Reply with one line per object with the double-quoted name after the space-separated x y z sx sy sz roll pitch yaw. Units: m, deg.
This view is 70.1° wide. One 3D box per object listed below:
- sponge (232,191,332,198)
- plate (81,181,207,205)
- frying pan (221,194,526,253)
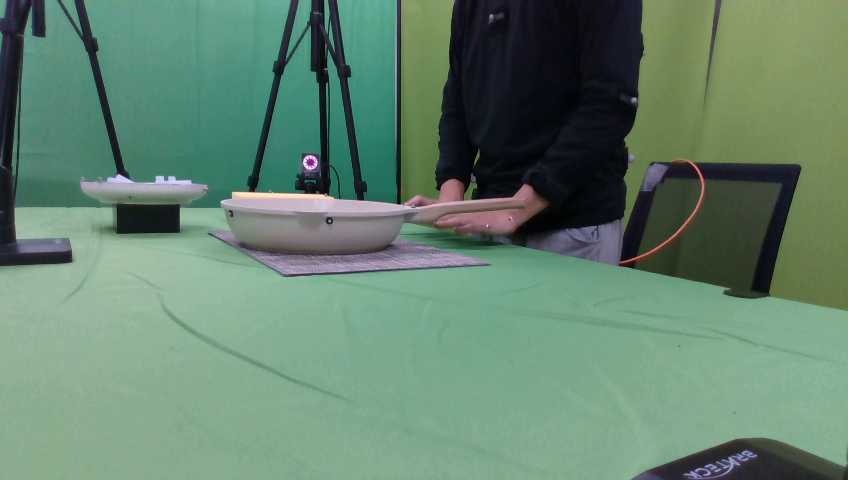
-0.318 -0.074 1.355 0.208 0.061 0.117 0 8 -24 "sponge"
-0.505 -0.086 1.100 0.208 0.039 0.207 2 6 0 "plate"
-0.070 -0.043 0.984 0.489 0.102 0.306 -7 9 -5 "frying pan"
